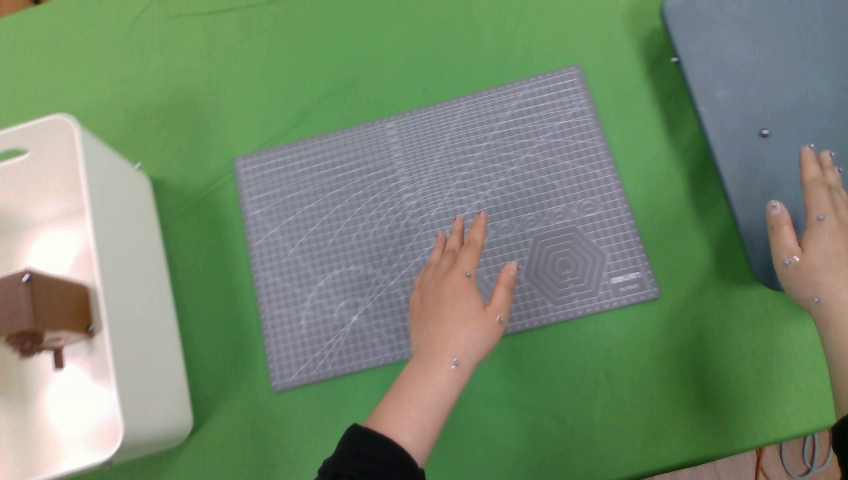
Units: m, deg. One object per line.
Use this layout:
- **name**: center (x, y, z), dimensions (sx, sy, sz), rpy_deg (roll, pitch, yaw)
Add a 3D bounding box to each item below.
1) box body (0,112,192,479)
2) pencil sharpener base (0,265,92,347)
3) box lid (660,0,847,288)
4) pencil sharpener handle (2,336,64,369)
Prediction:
- **box body**: center (-0.424, 0.081, 0.661), dimensions (0.254, 0.161, 0.361), rpy_deg (-17, 75, 2)
- **pencil sharpener base**: center (-0.436, 0.081, 0.684), dimensions (0.061, 0.107, 0.076), rpy_deg (-17, 75, 2)
- **box lid**: center (0.430, -0.148, 0.653), dimensions (0.263, 0.015, 0.369), rpy_deg (-13, 75, 3)
- **pencil sharpener handle**: center (-0.422, 0.125, 0.659), dimensions (0.036, 0.068, 0.030), rpy_deg (-19, 75, 10)
